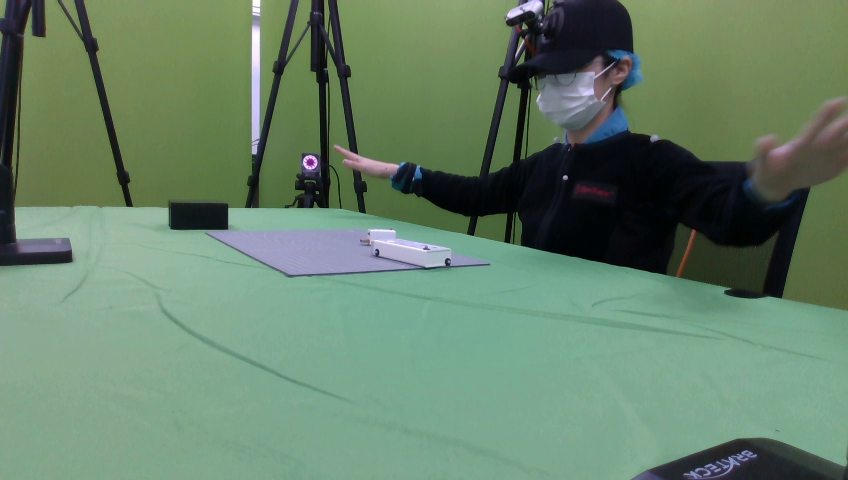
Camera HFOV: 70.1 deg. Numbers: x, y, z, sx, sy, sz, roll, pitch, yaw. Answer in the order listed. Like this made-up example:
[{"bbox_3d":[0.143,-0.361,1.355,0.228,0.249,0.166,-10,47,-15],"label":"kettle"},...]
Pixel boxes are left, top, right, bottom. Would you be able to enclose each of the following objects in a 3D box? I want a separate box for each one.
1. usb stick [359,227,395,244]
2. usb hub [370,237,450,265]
[{"bbox_3d":[-0.079,-0.007,1.009,0.059,0.027,0.021,-3,10,-19],"label":"usb stick"},{"bbox_3d":[-0.022,0.014,0.861,0.050,0.025,0.124,-5,9,-41],"label":"usb hub"}]
